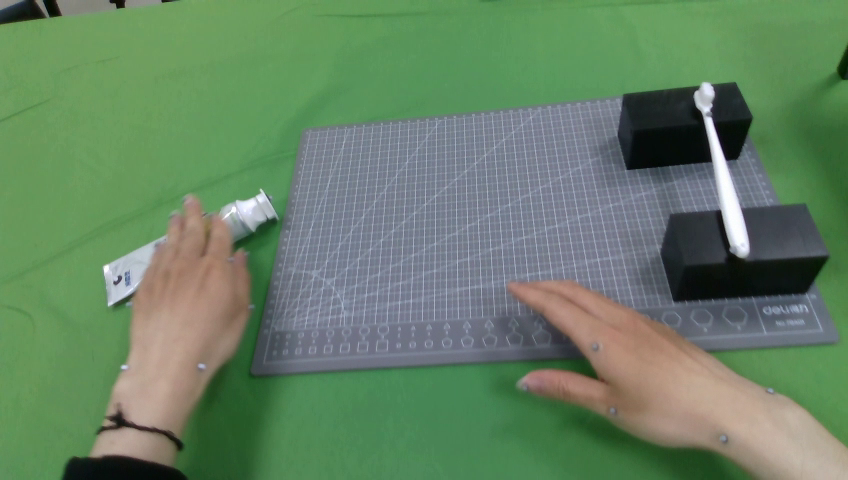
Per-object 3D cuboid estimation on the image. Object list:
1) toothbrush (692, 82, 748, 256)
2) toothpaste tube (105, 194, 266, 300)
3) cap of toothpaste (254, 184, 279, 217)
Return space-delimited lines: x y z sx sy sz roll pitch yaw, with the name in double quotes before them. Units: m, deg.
"toothbrush" 0.236 -0.064 0.484 0.014 0.017 0.180 9 54 -2
"toothpaste tube" -0.225 -0.001 0.578 0.165 0.035 0.054 -27 45 -7
"cap of toothpaste" -0.153 -0.037 0.585 0.011 0.038 0.037 -31 53 -14
